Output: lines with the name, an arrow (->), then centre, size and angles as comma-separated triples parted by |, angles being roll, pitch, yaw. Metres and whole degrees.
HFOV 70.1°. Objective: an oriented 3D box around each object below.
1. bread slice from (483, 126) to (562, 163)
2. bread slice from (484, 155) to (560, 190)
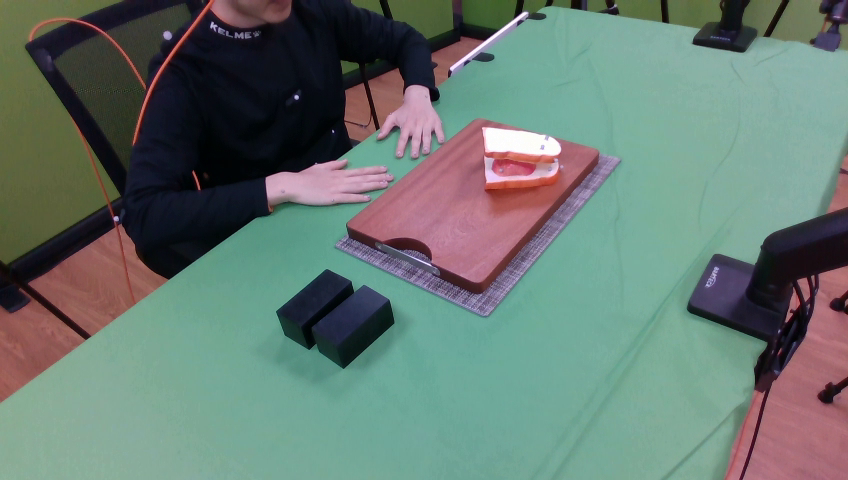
bread slice -> 0.166, -0.161, 1.025 | 0.134, 0.018, 0.106 | 5, 33, -4
bread slice -> 0.170, -0.128, 1.054 | 0.131, 0.019, 0.104 | -3, 43, 5
